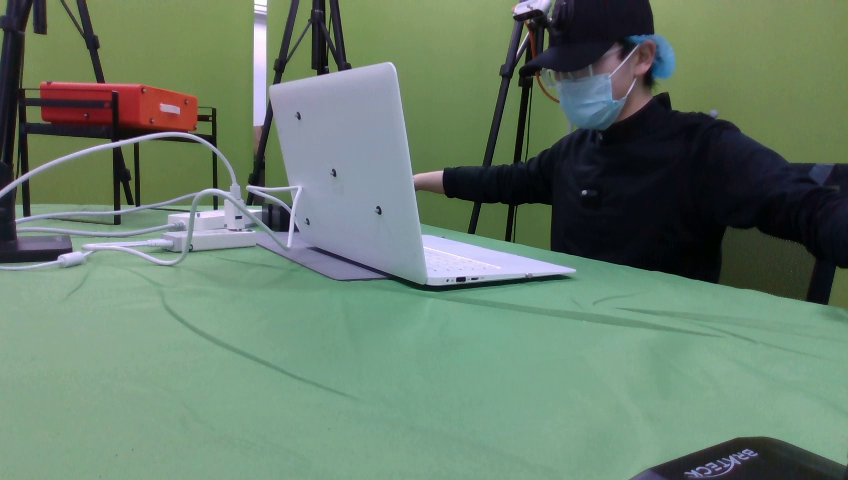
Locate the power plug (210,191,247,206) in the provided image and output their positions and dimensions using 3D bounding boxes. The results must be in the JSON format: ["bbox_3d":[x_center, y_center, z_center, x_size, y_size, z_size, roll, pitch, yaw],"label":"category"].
[{"bbox_3d":[-0.386,-0.071,1.203,0.072,0.052,0.035,8,10,25],"label":"power plug"}]

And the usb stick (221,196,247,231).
[{"bbox_3d":[-0.290,-0.035,0.920,0.027,0.059,0.021,14,4,32],"label":"usb stick"}]

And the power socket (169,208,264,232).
[{"bbox_3d":[-0.381,-0.038,1.128,0.072,0.032,0.227,4,8,17],"label":"power socket"}]

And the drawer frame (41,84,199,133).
[{"bbox_3d":[-0.604,-0.264,1.225,0.213,0.082,0.202,3,8,8],"label":"drawer frame"}]

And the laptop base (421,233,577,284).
[{"bbox_3d":[0.007,0.022,0.850,0.237,0.023,0.352,1,7,-34],"label":"laptop base"}]

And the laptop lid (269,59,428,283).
[{"bbox_3d":[-0.110,-0.087,0.752,0.013,0.241,0.355,-18,19,-30],"label":"laptop lid"}]

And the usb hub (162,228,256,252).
[{"bbox_3d":[-0.315,0.000,0.893,0.049,0.025,0.126,8,10,41],"label":"usb hub"}]

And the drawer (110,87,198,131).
[{"bbox_3d":[-0.602,-0.263,1.225,0.211,0.073,0.195,3,8,10],"label":"drawer"}]

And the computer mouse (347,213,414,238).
[{"bbox_3d":[-0.079,-0.025,1.080,0.117,0.041,0.062,-5,11,-18],"label":"computer mouse"}]
